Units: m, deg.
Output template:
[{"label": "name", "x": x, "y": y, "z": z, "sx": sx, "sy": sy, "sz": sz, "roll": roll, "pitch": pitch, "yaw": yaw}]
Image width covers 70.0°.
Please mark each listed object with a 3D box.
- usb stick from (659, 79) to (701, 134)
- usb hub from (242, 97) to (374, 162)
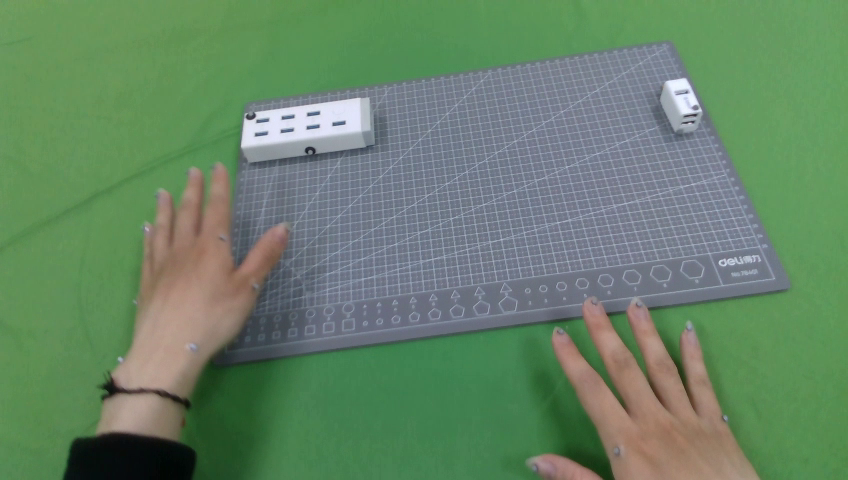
[{"label": "usb stick", "x": 0.235, "y": -0.129, "z": 0.562, "sx": 0.021, "sy": 0.027, "sz": 0.058, "roll": -10, "pitch": 53, "yaw": 3}, {"label": "usb hub", "x": -0.113, "y": -0.109, "z": 0.594, "sx": 0.125, "sy": 0.025, "sz": 0.049, "roll": -7, "pitch": 56, "yaw": 2}]
